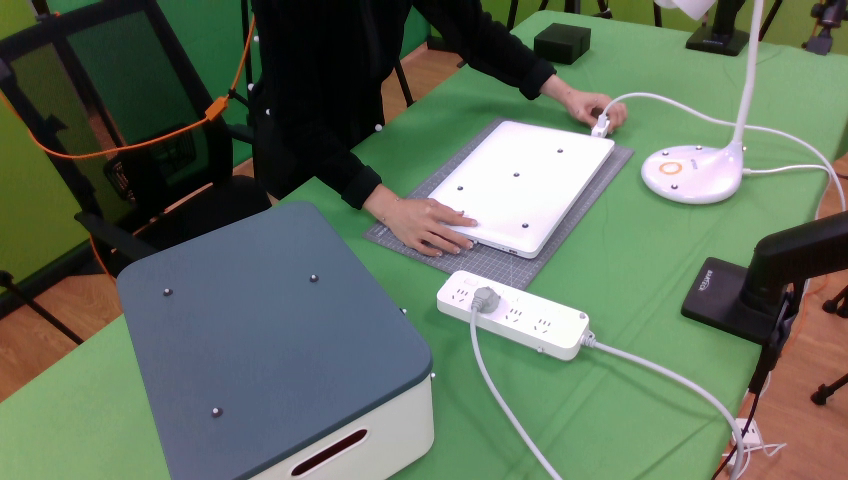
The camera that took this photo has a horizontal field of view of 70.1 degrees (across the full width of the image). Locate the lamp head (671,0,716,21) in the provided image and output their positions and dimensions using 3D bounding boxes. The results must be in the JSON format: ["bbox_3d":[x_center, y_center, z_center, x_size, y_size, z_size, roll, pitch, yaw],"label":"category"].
[{"bbox_3d":[0.375,-0.373,0.808,0.122,0.113,0.112,-40,27,32],"label":"lamp head"}]

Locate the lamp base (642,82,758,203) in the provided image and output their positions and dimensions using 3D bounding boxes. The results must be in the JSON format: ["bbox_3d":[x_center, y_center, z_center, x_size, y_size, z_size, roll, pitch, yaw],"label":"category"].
[{"bbox_3d":[0.464,-0.174,0.993,0.179,0.181,0.159,-5,41,-1],"label":"lamp base"}]

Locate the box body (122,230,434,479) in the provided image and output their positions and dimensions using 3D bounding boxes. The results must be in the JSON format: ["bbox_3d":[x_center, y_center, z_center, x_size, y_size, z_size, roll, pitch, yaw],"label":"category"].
[{"bbox_3d":[-0.175,0.142,0.725,0.255,0.161,0.360,-25,43,-20],"label":"box body"}]

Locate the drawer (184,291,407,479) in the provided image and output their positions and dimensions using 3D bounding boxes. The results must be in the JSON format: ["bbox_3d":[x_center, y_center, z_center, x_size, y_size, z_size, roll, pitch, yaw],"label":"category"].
[{"bbox_3d":[-0.155,0.179,0.719,0.195,0.073,0.210,-27,40,-21],"label":"drawer"}]

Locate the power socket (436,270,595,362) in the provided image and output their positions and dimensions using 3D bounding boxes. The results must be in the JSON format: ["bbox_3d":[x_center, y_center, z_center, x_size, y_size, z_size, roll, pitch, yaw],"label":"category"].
[{"bbox_3d":[0.118,0.101,0.832,0.225,0.033,0.072,19,48,27],"label":"power socket"}]

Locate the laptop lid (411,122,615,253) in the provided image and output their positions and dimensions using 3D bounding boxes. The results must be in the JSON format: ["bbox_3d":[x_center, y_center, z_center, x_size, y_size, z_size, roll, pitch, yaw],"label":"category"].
[{"bbox_3d":[0.164,-0.112,1.069,0.240,0.013,0.357,18,46,31],"label":"laptop lid"}]

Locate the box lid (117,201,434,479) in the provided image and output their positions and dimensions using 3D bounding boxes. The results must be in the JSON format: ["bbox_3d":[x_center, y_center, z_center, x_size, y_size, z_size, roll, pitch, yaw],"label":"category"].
[{"bbox_3d":[-0.182,0.087,0.675,0.264,0.015,0.368,-25,42,-20],"label":"box lid"}]

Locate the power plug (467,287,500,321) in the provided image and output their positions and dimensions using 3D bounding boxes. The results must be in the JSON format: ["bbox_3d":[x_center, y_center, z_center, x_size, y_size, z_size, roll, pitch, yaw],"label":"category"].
[{"bbox_3d":[0.073,0.092,0.814,0.035,0.053,0.073,29,54,34],"label":"power plug"}]

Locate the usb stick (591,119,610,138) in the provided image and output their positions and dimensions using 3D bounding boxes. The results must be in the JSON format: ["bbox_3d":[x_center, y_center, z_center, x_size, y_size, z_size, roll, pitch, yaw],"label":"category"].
[{"bbox_3d":[0.333,-0.204,1.150,0.021,0.027,0.059,22,53,22],"label":"usb stick"}]

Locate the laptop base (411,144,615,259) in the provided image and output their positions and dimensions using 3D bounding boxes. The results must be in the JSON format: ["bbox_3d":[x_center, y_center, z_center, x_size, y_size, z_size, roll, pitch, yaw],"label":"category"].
[{"bbox_3d":[0.167,-0.102,1.075,0.234,0.023,0.355,17,46,30],"label":"laptop base"}]

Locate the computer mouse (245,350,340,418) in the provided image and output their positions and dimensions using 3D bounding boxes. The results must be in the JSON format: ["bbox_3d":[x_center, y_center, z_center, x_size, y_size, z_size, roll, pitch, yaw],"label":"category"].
[{"bbox_3d":[-0.165,0.173,0.754,0.118,0.041,0.062,-18,34,-18],"label":"computer mouse"}]
